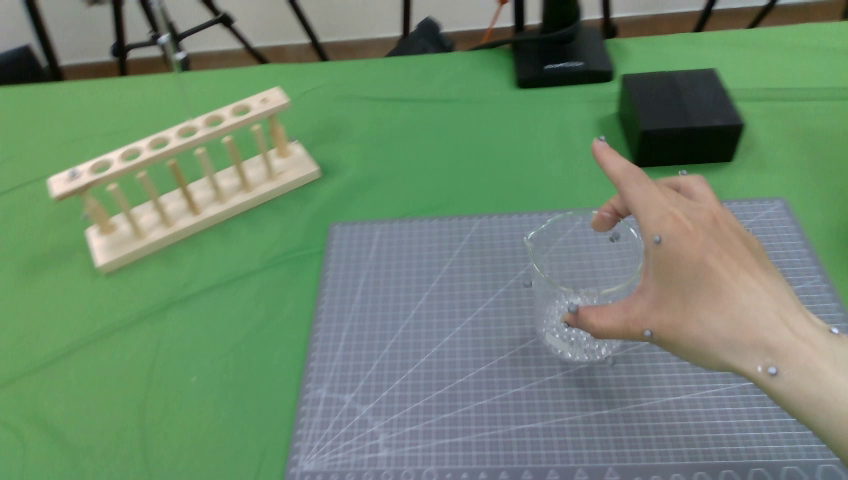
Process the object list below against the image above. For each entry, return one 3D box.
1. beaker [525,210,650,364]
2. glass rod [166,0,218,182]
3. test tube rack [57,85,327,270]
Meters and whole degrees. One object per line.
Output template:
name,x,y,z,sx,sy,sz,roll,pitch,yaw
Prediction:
beaker,0.115,0.038,0.442,0.083,0.101,0.073,16,54,23
glass rod,-0.225,-0.137,0.603,0.008,0.201,0.008,-1,40,1
test tube rack,-0.232,-0.069,0.632,0.242,0.086,0.066,-27,50,-16
